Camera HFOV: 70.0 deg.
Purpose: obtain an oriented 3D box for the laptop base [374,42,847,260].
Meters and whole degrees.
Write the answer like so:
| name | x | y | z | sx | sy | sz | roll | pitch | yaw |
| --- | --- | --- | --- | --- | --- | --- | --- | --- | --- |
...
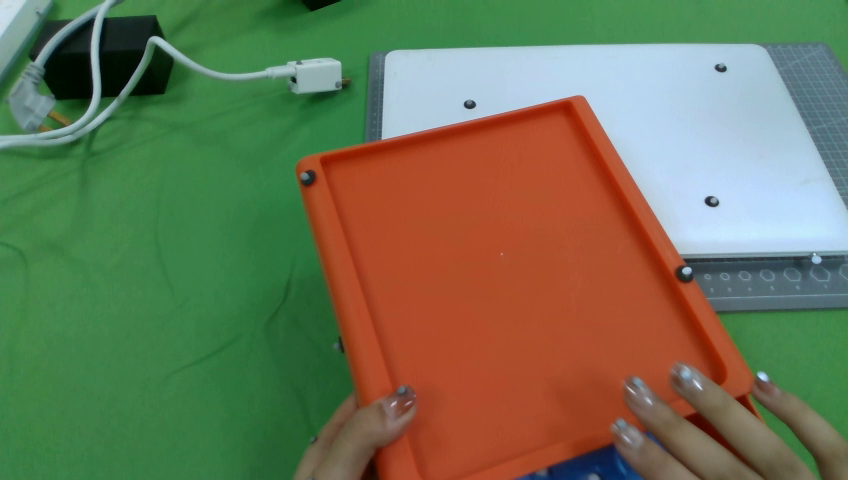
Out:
| name | x | y | z | sx | sy | sz | roll | pitch | yaw |
| --- | --- | --- | --- | --- | --- | --- | --- | --- | --- |
| laptop base | 0.138 | -0.082 | 0.507 | 0.354 | 0.023 | 0.233 | -1 | 57 | 0 |

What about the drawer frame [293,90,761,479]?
| name | x | y | z | sx | sy | sz | roll | pitch | yaw |
| --- | --- | --- | --- | --- | --- | --- | --- | --- | --- |
| drawer frame | 0.046 | 0.030 | 0.365 | 0.202 | 0.083 | 0.211 | -16 | 63 | -12 |

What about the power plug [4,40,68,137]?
| name | x | y | z | sx | sy | sz | roll | pitch | yaw |
| --- | --- | --- | --- | --- | --- | --- | --- | --- | --- |
| power plug | -0.320 | -0.125 | 0.514 | 0.072 | 0.053 | 0.035 | -54 | 35 | 0 |

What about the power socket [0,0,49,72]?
| name | x | y | z | sx | sy | sz | roll | pitch | yaw |
| --- | --- | --- | --- | --- | --- | --- | --- | --- | --- |
| power socket | -0.437 | -0.191 | 0.582 | 0.072 | 0.033 | 0.224 | 2 | 54 | 1 |

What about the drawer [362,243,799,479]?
| name | x | y | z | sx | sy | sz | roll | pitch | yaw |
| --- | --- | --- | --- | --- | --- | --- | --- | --- | --- |
| drawer | 0.070 | 0.093 | 0.333 | 0.195 | 0.074 | 0.209 | -14 | 61 | -12 |

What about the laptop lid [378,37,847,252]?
| name | x | y | z | sx | sy | sz | roll | pitch | yaw |
| --- | --- | --- | --- | --- | --- | --- | --- | --- | --- |
| laptop lid | 0.138 | -0.087 | 0.496 | 0.357 | 0.013 | 0.239 | 0 | 57 | 1 |

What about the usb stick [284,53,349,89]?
| name | x | y | z | sx | sy | sz | roll | pitch | yaw |
| --- | --- | --- | --- | --- | --- | --- | --- | --- | --- |
| usb stick | -0.096 | -0.154 | 0.550 | 0.059 | 0.027 | 0.021 | -16 | 31 | -36 |

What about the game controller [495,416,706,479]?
| name | x | y | z | sx | sy | sz | roll | pitch | yaw |
| --- | --- | --- | --- | --- | --- | --- | --- | --- | --- |
| game controller | 0.082 | 0.137 | 0.321 | 0.155 | 0.052 | 0.096 | -14 | 68 | -15 |
